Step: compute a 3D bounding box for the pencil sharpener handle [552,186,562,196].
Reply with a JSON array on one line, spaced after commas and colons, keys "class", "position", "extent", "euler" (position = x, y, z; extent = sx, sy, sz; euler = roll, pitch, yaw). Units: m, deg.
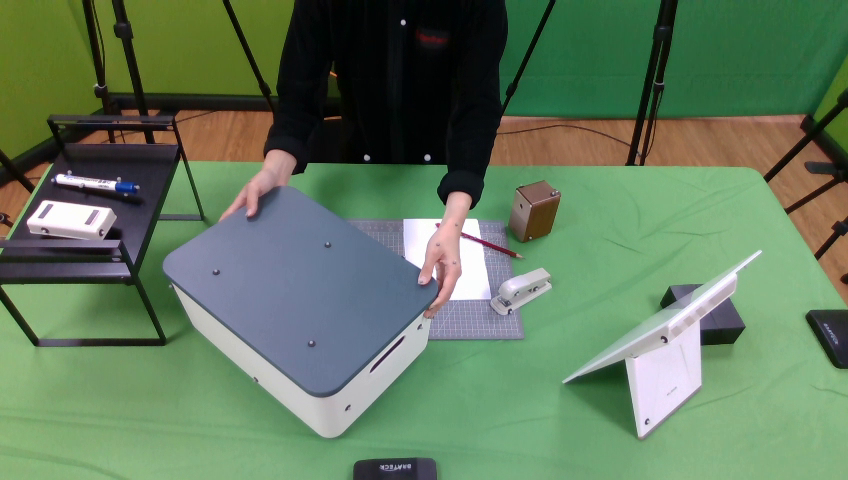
[{"class": "pencil sharpener handle", "position": [0.266, -0.085, 1.223], "extent": [0.031, 0.068, 0.036], "euler": [-18, 64, -21]}]

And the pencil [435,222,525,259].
[{"class": "pencil", "position": [0.111, 0.001, 1.210], "extent": [0.193, 0.012, 0.012], "euler": [22, 49, 14]}]

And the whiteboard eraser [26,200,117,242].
[{"class": "whiteboard eraser", "position": [-0.532, -0.026, 0.919], "extent": [0.113, 0.042, 0.055], "euler": [7, 45, 3]}]

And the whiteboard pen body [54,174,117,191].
[{"class": "whiteboard pen body", "position": [-0.541, -0.093, 0.993], "extent": [0.140, 0.017, 0.017], "euler": [7, 46, 9]}]

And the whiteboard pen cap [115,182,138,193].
[{"class": "whiteboard pen cap", "position": [-0.483, -0.086, 0.984], "extent": [0.033, 0.018, 0.018], "euler": [7, 46, 10]}]

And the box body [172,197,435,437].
[{"class": "box body", "position": [-0.192, 0.108, 0.980], "extent": [0.362, 0.161, 0.254], "euler": [32, 53, 24]}]

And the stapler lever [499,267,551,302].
[{"class": "stapler lever", "position": [0.185, 0.076, 1.101], "extent": [0.118, 0.040, 0.026], "euler": [-25, 57, -29]}]

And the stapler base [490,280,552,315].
[{"class": "stapler base", "position": [0.181, 0.094, 1.118], "extent": [0.130, 0.024, 0.041], "euler": [-24, 57, -29]}]

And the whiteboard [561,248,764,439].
[{"class": "whiteboard", "position": [0.386, 0.176, 0.905], "extent": [0.217, 0.306, 0.143], "euler": [-26, 72, -27]}]

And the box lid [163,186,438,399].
[{"class": "box lid", "position": [-0.188, 0.058, 0.925], "extent": [0.370, 0.015, 0.263], "euler": [31, 53, 24]}]

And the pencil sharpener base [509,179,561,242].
[{"class": "pencil sharpener base", "position": [0.222, -0.059, 1.212], "extent": [0.077, 0.107, 0.061], "euler": [-18, 50, -21]}]
